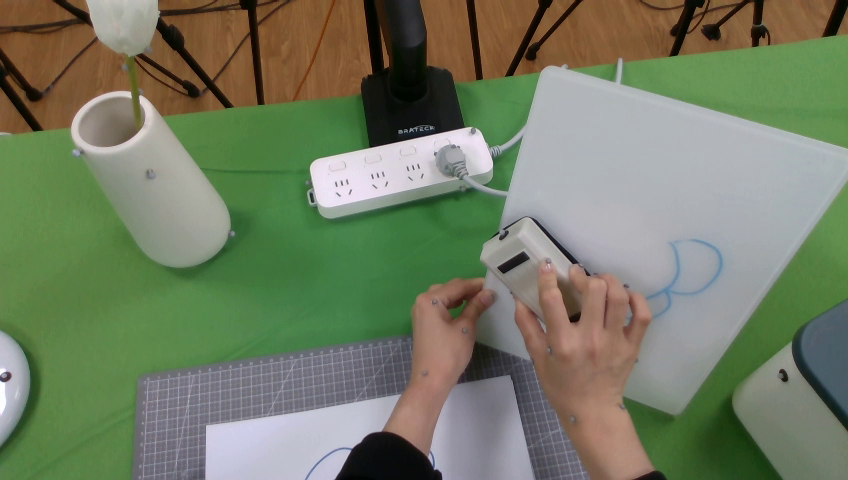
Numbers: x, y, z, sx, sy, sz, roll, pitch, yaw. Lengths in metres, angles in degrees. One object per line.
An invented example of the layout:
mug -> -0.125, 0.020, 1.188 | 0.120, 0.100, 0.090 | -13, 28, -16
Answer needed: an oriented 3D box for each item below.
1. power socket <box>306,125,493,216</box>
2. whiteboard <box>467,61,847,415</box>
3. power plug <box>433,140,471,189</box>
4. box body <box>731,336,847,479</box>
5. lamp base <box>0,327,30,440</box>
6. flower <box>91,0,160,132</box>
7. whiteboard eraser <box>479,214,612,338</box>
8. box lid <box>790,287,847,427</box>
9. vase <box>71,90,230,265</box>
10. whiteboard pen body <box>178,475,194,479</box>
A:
power socket -> -0.027, -0.082, 0.708 | 0.227, 0.033, 0.071 | -13, 63, -8
whiteboard -> 0.188, -0.017, 0.554 | 0.216, 0.308, 0.143 | 20, 42, 11
power plug -> 0.030, -0.079, 0.681 | 0.035, 0.053, 0.072 | -4, 68, -2
box body -> 0.471, 0.198, 0.485 | 0.254, 0.161, 0.360 | -25, 64, -13
lamp base -> -0.476, 0.110, 0.517 | 0.178, 0.182, 0.160 | 21, 63, 14
flower -> -0.243, -0.090, 0.523 | 0.038, 0.363, 0.044 | 39, 58, 1
whiteboard eraser -> 0.104, 0.030, 0.514 | 0.113, 0.055, 0.041 | 45, 37, -12
box lid -> 0.470, 0.159, 0.420 | 0.263, 0.015, 0.368 | -25, 65, -12
vase -> -0.264, -0.055, 0.597 | 0.098, 0.201, 0.097 | 0, 61, 1
whiteboard pen body -> -0.213, 0.275, 0.515 | 0.017, 0.017, 0.139 | -1, 63, 0
